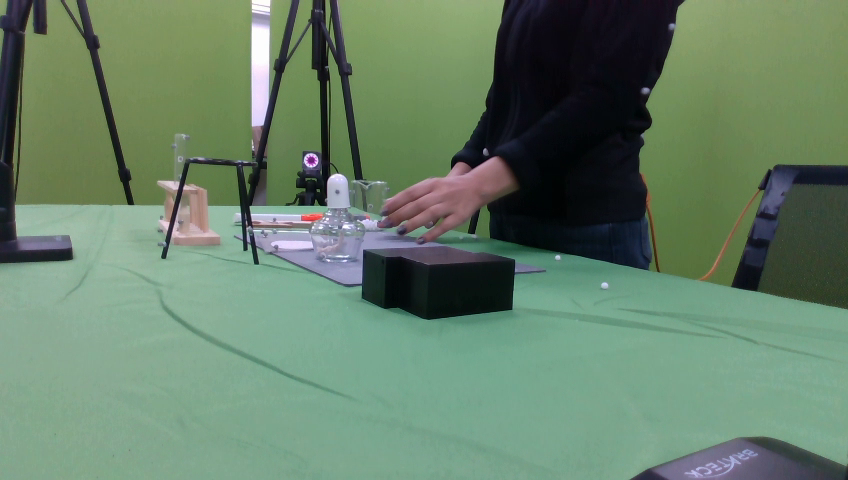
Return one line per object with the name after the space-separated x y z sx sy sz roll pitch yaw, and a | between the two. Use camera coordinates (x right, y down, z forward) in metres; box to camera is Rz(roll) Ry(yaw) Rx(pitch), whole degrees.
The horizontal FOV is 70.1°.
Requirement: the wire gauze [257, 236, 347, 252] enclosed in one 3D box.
-0.190 0.005 0.931 0.122 0.011 0.124 1 7 -21 | wire gauze

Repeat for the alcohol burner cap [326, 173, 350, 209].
-0.117 -0.065 0.807 0.034 0.048 0.034 -3 10 1 | alcohol burner cap

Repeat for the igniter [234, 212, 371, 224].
-0.246 -0.045 1.248 0.278 0.025 0.057 -1 -2 -25 | igniter

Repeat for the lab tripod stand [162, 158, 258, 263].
-0.265 -0.041 0.802 0.148 0.131 0.148 4 7 0 | lab tripod stand

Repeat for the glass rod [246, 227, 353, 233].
-0.224 -0.017 1.109 0.201 0.008 0.008 1 7 -27 | glass rod

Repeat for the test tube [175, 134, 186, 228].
-0.388 -0.093 0.964 0.017 0.150 0.017 1 2 0 | test tube

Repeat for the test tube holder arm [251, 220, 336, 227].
-0.254 -0.031 1.156 0.179 0.015 0.013 -2 44 -30 | test tube holder arm

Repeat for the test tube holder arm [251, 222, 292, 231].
-0.291 -0.026 1.130 0.088 0.015 0.010 -1 43 -30 | test tube holder arm

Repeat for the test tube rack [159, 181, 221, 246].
-0.395 -0.050 1.010 0.067 0.085 0.241 -1 8 -28 | test tube rack

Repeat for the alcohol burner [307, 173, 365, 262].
-0.117 -0.030 0.813 0.078 0.119 0.078 3 9 0 | alcohol burner

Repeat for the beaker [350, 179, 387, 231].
-0.111 -0.070 1.204 0.074 0.100 0.084 2 8 0 | beaker
